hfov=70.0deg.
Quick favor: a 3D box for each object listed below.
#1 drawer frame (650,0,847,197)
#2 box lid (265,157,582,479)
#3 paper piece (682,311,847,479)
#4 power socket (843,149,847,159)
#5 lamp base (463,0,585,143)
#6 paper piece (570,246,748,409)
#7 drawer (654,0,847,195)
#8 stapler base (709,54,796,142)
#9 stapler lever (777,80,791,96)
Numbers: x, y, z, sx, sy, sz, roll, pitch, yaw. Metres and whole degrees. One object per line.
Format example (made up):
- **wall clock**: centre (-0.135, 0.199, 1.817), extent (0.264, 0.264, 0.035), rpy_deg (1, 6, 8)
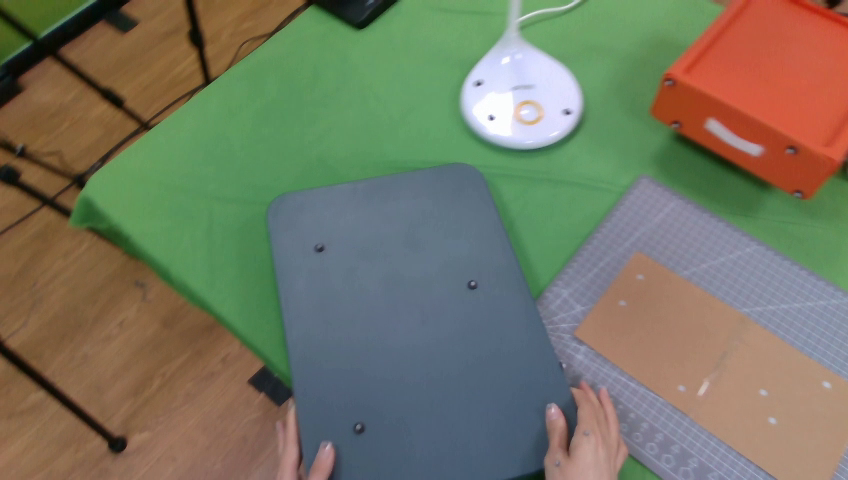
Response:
- **drawer frame**: centre (0.412, -0.186, 0.706), extent (0.200, 0.083, 0.213), rpy_deg (37, 68, 21)
- **box lid**: centre (-0.015, 0.075, 0.632), extent (0.264, 0.015, 0.367), rpy_deg (-12, 60, -9)
- **paper piece**: centre (0.353, 0.159, 0.609), extent (0.134, 0.004, 0.135), rpy_deg (37, 69, 20)
- **power socket**: centre (0.616, -0.066, 0.708), extent (0.225, 0.033, 0.072), rpy_deg (30, 68, 17)
- **lamp base**: centre (0.124, -0.241, 0.742), extent (0.161, 0.182, 0.177), rpy_deg (-15, 59, -5)
- **paper piece**: centre (0.252, 0.088, 0.654), extent (0.135, 0.009, 0.138), rpy_deg (35, 70, 23)
- **drawer**: centre (0.412, -0.184, 0.704), extent (0.193, 0.074, 0.211), rpy_deg (37, 69, 21)
- **stapler base**: centre (0.391, -0.175, 0.721), extent (0.041, 0.025, 0.129), rpy_deg (-24, 59, 8)
- **stapler lever**: centre (0.381, -0.187, 0.699), extent (0.027, 0.040, 0.117), rpy_deg (-25, 58, 8)
